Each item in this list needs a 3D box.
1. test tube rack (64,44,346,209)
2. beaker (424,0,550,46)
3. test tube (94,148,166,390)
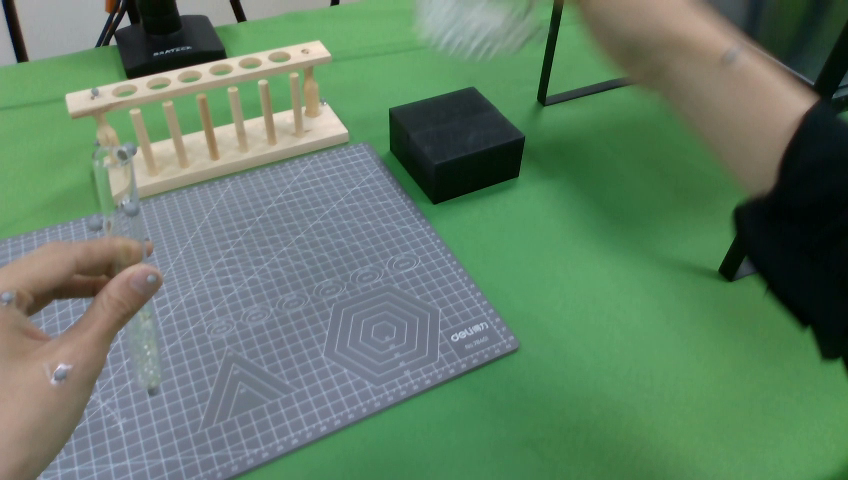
[{"bbox_3d":[-0.204,-0.116,0.598,0.243,0.086,0.066,-20,49,-21],"label":"test tube rack"},{"bbox_3d":[0.036,-0.161,0.314,0.084,0.101,0.073,-8,49,-14],"label":"beaker"},{"bbox_3d":[-0.140,0.023,0.295,0.017,0.151,0.017,8,38,-6],"label":"test tube"}]
